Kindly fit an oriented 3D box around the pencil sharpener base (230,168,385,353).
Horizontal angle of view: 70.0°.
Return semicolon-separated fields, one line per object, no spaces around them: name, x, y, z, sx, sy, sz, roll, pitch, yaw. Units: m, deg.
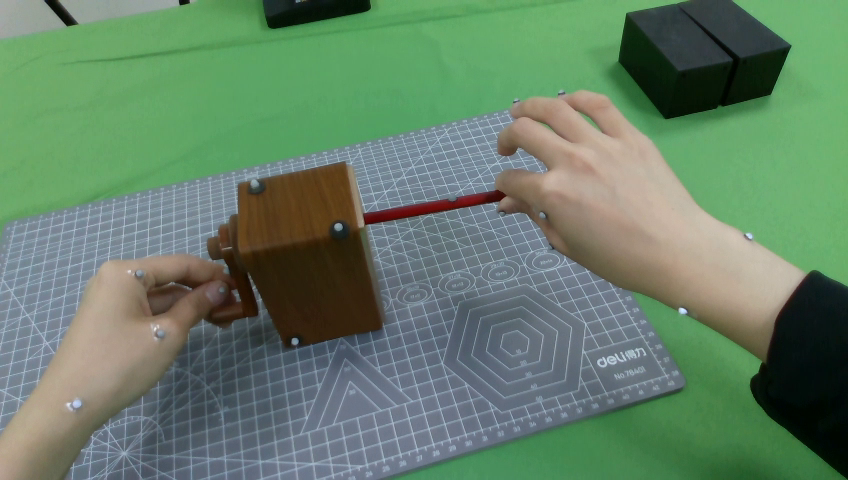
pencil sharpener base;-0.071;0.017;0.388;0.077;0.108;0.060;-12;49;-5

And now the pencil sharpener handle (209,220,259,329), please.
pencil sharpener handle;-0.121;0.023;0.368;0.031;0.068;0.035;-12;23;-5

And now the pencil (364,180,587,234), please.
pencil;0.008;-0.016;0.376;0.194;0.012;0.012;-11;48;-6
